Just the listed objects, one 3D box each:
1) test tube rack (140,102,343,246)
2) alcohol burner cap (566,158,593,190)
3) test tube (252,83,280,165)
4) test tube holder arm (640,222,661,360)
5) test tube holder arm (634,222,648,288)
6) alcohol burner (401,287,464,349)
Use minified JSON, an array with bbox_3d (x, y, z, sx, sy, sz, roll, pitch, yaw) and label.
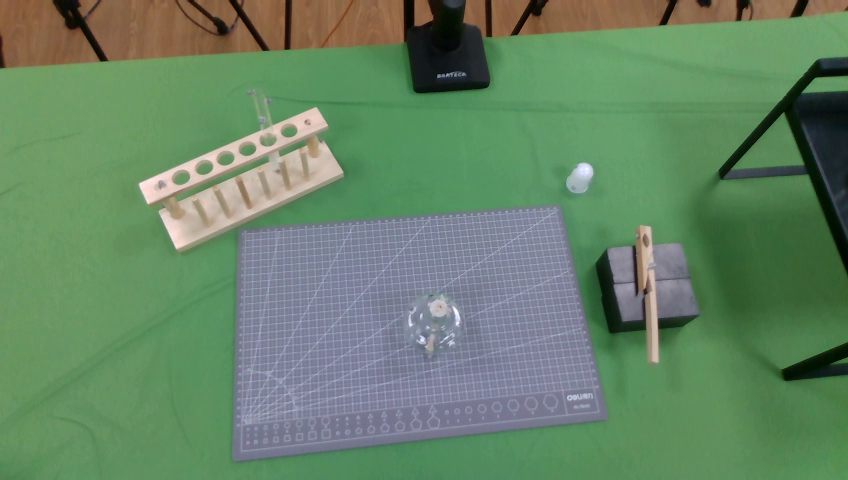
[{"bbox_3d":[-0.234,-0.088,0.806,0.242,0.086,0.066,-27,70,-14],"label":"test tube rack"},{"bbox_3d":[0.223,-0.096,0.861,0.034,0.048,0.033,1,65,-1],"label":"alcohol burner cap"},{"bbox_3d":[-0.201,-0.144,0.779,0.017,0.151,0.017,2,61,-3],"label":"test tube"},{"bbox_3d":[0.282,0.061,0.758,0.013,0.015,0.177,2,68,-1],"label":"test tube holder arm"},{"bbox_3d":[0.278,0.019,0.775,0.010,0.015,0.087,4,67,0],"label":"test tube holder arm"},{"bbox_3d":[0.012,0.089,0.726,0.078,0.120,0.077,2,67,-4],"label":"alcohol burner"}]
